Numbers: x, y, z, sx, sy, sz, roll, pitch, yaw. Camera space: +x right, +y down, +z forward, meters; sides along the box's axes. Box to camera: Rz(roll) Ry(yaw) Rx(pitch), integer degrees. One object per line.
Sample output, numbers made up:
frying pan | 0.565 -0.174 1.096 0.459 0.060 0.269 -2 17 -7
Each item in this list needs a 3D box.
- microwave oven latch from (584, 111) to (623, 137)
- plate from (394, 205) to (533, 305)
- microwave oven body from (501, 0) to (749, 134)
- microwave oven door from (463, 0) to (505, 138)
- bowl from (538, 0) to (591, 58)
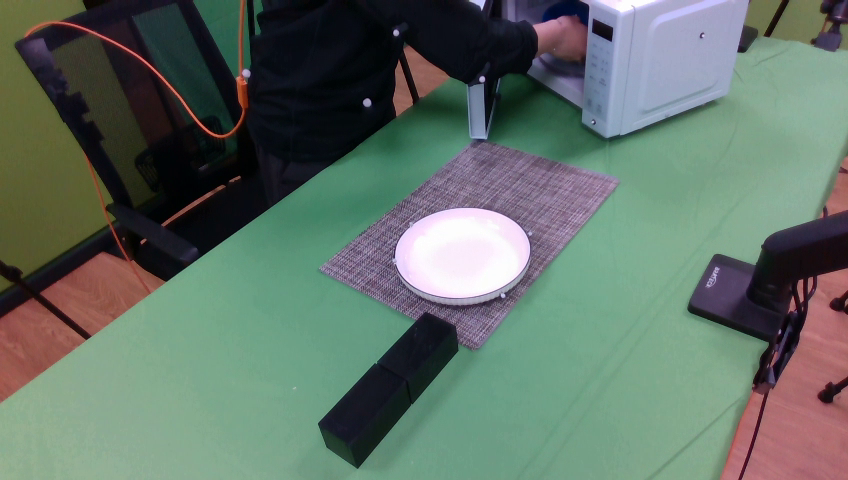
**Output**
microwave oven latch | 0.337 -0.222 1.142 0.030 0.029 0.078 -21 42 -14
plate | 0.060 0.025 0.915 0.207 0.039 0.206 -4 41 4
microwave oven body | 0.382 -0.444 1.246 0.327 0.261 0.437 -22 42 -16
microwave oven door | 0.128 -0.404 1.226 0.039 0.245 0.355 2 42 12
bowl | 0.317 -0.440 1.280 0.151 0.077 0.150 -5 50 6
